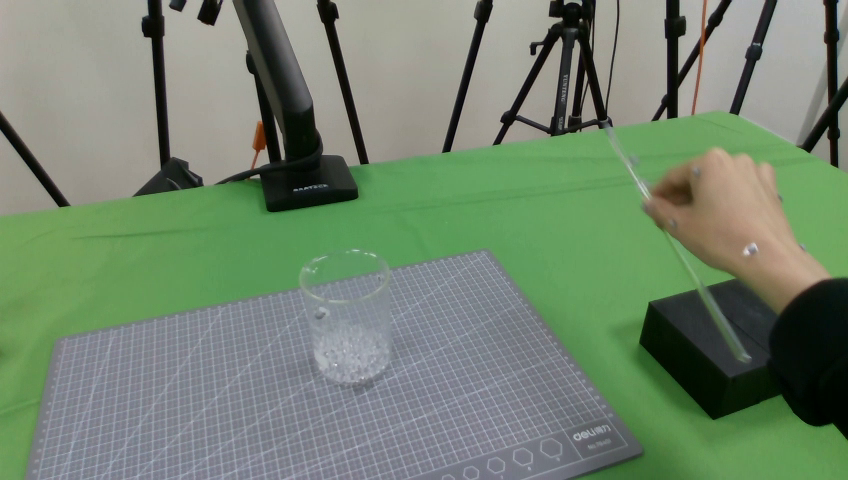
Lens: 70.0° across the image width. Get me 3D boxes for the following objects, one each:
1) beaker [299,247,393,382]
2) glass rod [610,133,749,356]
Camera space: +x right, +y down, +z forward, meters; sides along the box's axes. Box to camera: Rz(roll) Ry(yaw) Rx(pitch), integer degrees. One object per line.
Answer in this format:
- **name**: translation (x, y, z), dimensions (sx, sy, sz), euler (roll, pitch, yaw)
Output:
- **beaker**: translation (-0.067, 0.066, 0.526), dimensions (0.083, 0.101, 0.074), euler (18, 38, 26)
- **glass rod**: translation (0.195, -0.002, 0.470), dimensions (0.008, 0.008, 0.198), euler (-18, 72, -24)
